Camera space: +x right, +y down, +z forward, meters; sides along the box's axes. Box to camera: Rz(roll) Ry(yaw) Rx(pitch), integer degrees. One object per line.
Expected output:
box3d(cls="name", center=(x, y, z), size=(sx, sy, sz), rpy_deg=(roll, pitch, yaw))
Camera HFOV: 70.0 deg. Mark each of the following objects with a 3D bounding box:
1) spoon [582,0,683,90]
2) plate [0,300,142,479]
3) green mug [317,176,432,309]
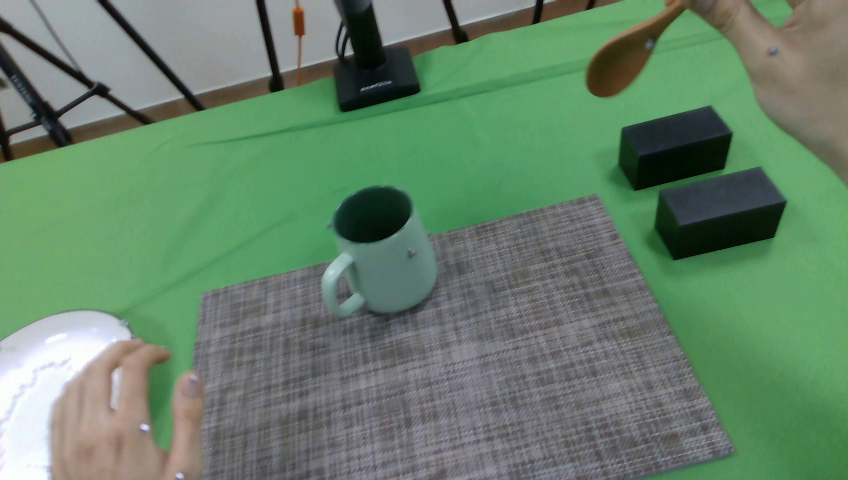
box3d(cls="spoon", center=(0.156, -0.154, 0.363), size=(0.042, 0.194, 0.021), rpy_deg=(10, 67, -16))
box3d(cls="plate", center=(-0.370, 0.152, 0.587), size=(0.209, 0.038, 0.207), rpy_deg=(-6, 48, 8))
box3d(cls="green mug", center=(-0.053, 0.013, 0.585), size=(0.092, 0.106, 0.125), rpy_deg=(25, 59, 30))
